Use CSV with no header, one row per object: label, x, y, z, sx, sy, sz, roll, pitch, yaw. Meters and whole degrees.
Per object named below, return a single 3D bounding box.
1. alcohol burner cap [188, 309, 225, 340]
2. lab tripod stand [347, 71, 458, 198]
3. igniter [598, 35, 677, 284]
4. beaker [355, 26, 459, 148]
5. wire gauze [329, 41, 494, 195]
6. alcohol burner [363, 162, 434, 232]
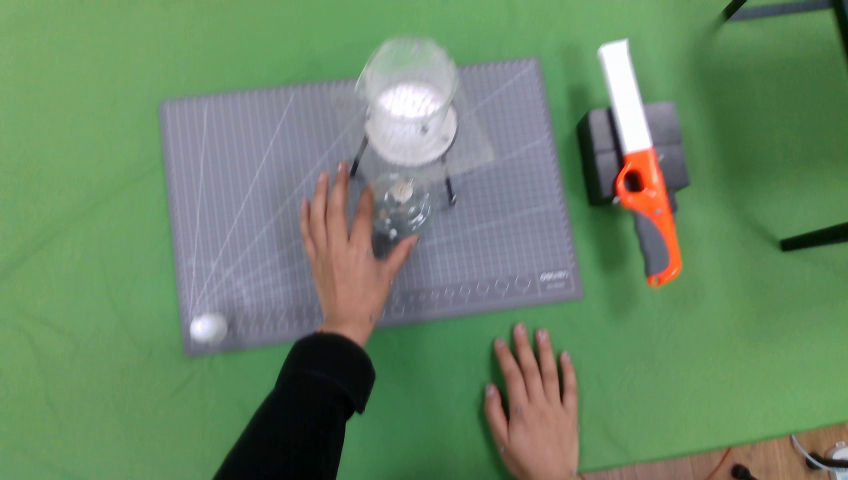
alcohol burner cap,-0.234,0.089,0.645,0.034,0.048,0.033,0,80,-2
lab tripod stand,-0.016,-0.114,0.640,0.148,0.132,0.148,0,81,-2
igniter,0.233,-0.090,0.663,0.057,0.025,0.275,-10,82,6
beaker,-0.016,-0.126,0.527,0.084,0.100,0.073,-9,81,-5
wire gauze,-0.011,-0.116,0.574,0.125,0.011,0.121,-21,84,-8
alcohol burner,-0.027,-0.048,0.641,0.078,0.119,0.077,0,84,-4
